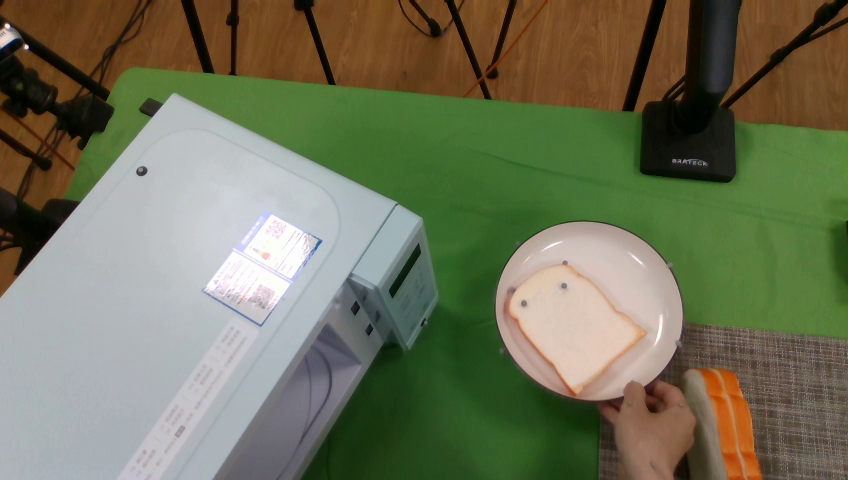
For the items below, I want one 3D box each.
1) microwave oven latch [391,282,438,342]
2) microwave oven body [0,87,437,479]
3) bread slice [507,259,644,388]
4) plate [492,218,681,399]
[{"bbox_3d":[-0.012,0.083,0.736,0.030,0.030,0.079,29,73,15],"label":"microwave oven latch"},{"bbox_3d":[-0.237,0.125,0.633,0.324,0.262,0.440,27,73,15],"label":"microwave oven body"},{"bbox_3d":[0.161,0.088,0.689,0.107,0.018,0.133,-40,70,-12],"label":"bread slice"},{"bbox_3d":[0.182,0.077,0.692,0.207,0.039,0.206,-2,70,6],"label":"plate"}]
